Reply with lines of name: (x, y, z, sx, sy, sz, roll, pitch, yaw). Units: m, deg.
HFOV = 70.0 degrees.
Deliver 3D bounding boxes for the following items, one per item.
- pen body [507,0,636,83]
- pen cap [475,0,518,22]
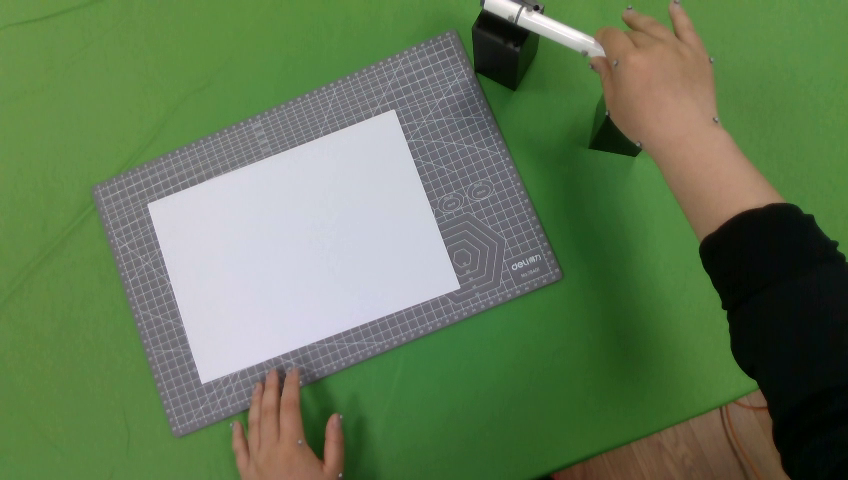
pen body: (0.121, -0.181, 0.538, 0.144, 0.017, 0.017, 32, 88, 6)
pen cap: (0.065, -0.210, 0.543, 0.038, 0.017, 0.017, 27, 87, 7)
